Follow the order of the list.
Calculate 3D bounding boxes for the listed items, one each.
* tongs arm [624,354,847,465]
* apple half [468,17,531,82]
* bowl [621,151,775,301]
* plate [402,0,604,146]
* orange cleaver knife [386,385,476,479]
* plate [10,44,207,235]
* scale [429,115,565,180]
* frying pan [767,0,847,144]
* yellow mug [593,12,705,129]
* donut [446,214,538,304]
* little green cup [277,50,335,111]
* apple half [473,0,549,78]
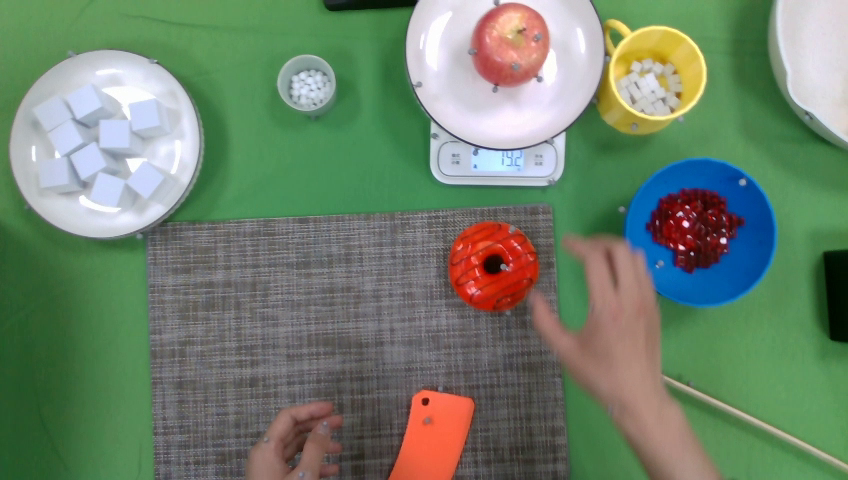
[{"bbox_3d":[0.391,0.216,0.653,0.387,0.028,0.028,27,79,1],"label":"tongs arm"},{"bbox_3d":[0.068,-0.181,0.609,0.081,0.081,0.033,42,85,3],"label":"apple half"},{"bbox_3d":[0.274,-0.012,0.638,0.151,0.077,0.151,0,88,1],"label":"bowl"},{"bbox_3d":[0.081,-0.200,0.637,0.209,0.038,0.209,0,87,0],"label":"plate"},{"bbox_3d":[-0.012,0.253,0.651,0.077,0.012,0.211,26,85,-5],"label":"orange cleaver knife"},{"bbox_3d":[-0.338,-0.108,0.664,0.208,0.039,0.207,0,87,0],"label":"plate"},{"bbox_3d":[0.082,-0.168,0.668,0.149,0.031,0.200,1,88,1],"label":"scale"},{"bbox_3d":[0.556,-0.140,0.629,0.307,0.103,0.485,-30,80,0],"label":"frying pan"},{"bbox_3d":[0.229,-0.189,0.651,0.100,0.064,0.130,-36,87,0],"label":"yellow mug"},{"bbox_3d":[0.072,0.020,0.649,0.099,0.048,0.099,0,88,2],"label":"donut"},{"bbox_3d":[-0.127,-0.172,0.666,0.061,0.038,0.061,0,87,1],"label":"little green cup"},{"bbox_3d":[0.094,-0.209,0.611,0.080,0.075,0.053,42,85,5],"label":"apple half"}]
